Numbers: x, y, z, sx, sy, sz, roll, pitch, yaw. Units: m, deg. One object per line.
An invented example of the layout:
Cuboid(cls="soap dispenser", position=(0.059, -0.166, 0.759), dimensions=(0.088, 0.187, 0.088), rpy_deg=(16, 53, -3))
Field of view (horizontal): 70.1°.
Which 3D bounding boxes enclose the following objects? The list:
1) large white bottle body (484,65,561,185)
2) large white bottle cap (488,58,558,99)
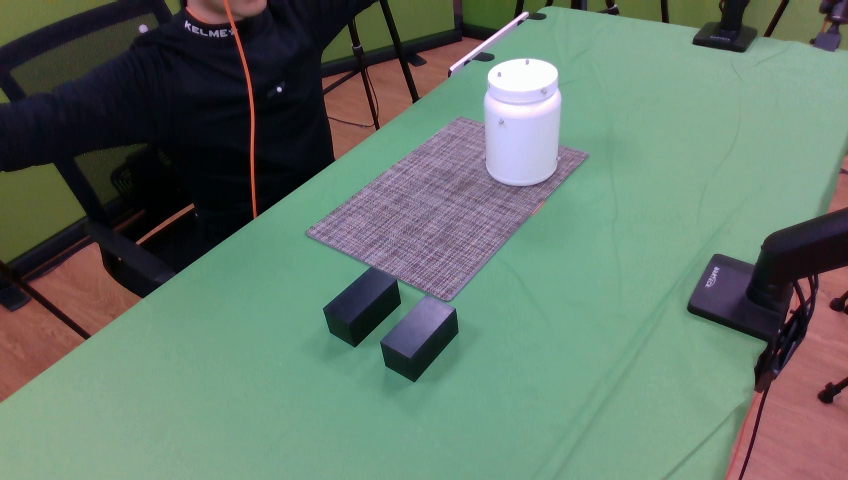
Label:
Cuboid(cls="large white bottle body", position=(0.169, -0.204, 1.049), dimensions=(0.130, 0.185, 0.130), rpy_deg=(-4, 41, 4))
Cuboid(cls="large white bottle cap", position=(0.162, -0.267, 0.994), dimensions=(0.115, 0.018, 0.114), rpy_deg=(-3, 41, 3))
